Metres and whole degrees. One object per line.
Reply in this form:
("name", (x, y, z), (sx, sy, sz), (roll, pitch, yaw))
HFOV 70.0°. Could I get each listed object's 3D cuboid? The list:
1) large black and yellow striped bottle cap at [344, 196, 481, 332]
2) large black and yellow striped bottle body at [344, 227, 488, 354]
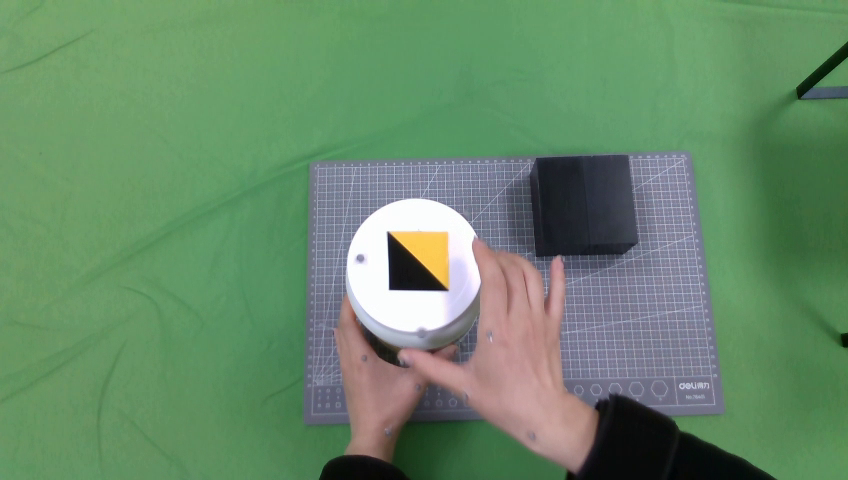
("large black and yellow striped bottle cap", (-0.009, 0.019, 0.506), (0.115, 0.019, 0.114), (0, 76, -1))
("large black and yellow striped bottle body", (-0.007, 0.040, 0.589), (0.131, 0.185, 0.130), (0, 76, 1))
